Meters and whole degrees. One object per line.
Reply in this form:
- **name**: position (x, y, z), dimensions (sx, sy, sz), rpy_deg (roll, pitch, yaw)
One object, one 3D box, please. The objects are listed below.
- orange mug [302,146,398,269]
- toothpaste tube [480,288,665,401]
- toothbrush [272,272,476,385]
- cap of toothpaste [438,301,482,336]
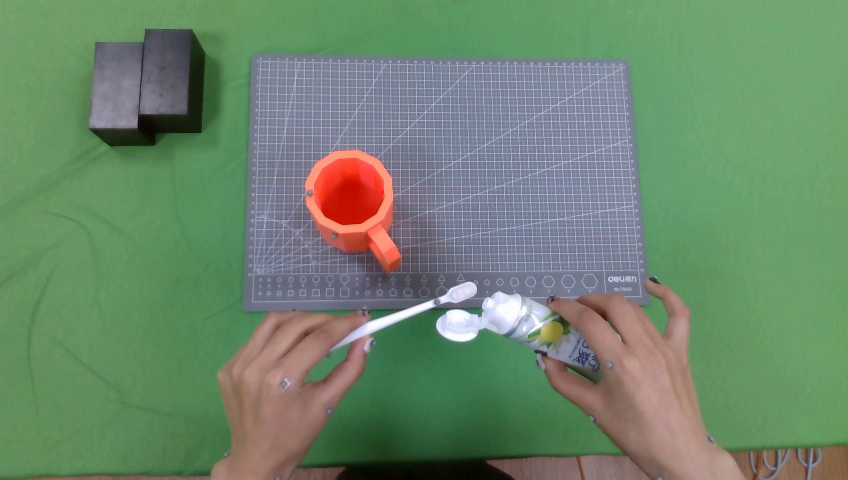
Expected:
- **orange mug**: position (-0.068, -0.027, 0.630), dimensions (0.083, 0.101, 0.125), rpy_deg (-35, 79, -10)
- **toothpaste tube**: position (0.117, 0.081, 0.489), dimensions (0.166, 0.034, 0.055), rpy_deg (24, 102, -13)
- **toothbrush**: position (-0.042, 0.072, 0.485), dimensions (0.182, 0.014, 0.016), rpy_deg (-27, 70, 4)
- **cap of toothpaste**: position (0.029, 0.061, 0.481), dimensions (0.037, 0.011, 0.037), rpy_deg (4, 36, -2)
